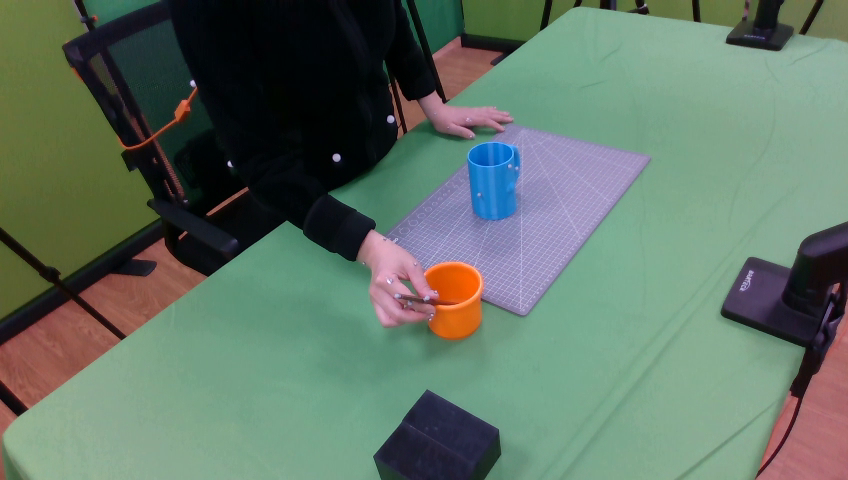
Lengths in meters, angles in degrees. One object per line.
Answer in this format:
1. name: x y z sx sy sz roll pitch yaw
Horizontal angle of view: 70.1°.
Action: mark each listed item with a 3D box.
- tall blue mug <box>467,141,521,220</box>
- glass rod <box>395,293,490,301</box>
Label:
1. tall blue mug: 0.120 -0.109 1.020 0.077 0.108 0.107 2 42 15
2. glass rod: 0.031 0.075 0.796 0.008 0.008 0.201 29 15 37
